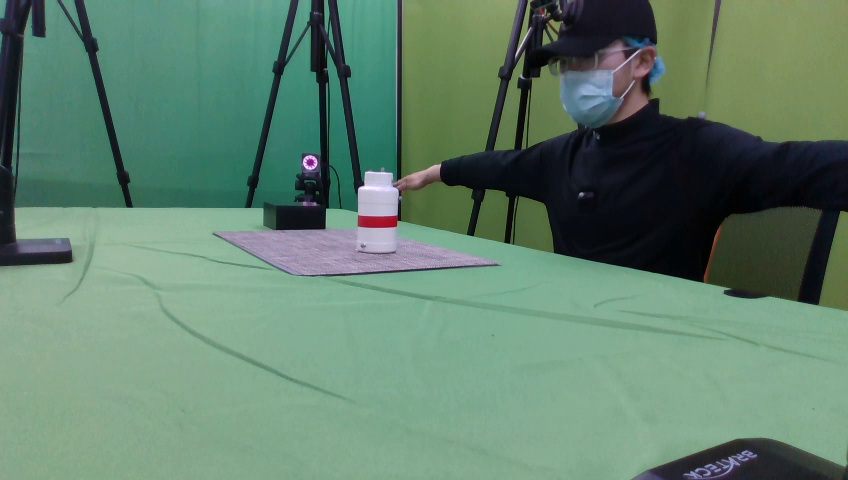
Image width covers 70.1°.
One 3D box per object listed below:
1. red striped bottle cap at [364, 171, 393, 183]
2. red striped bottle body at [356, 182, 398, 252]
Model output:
[{"bbox_3d":[-0.069,-0.096,0.918,0.044,0.017,0.044,0,5,0],"label":"red striped bottle cap"},{"bbox_3d":[-0.071,-0.044,0.924,0.063,0.119,0.063,2,7,0],"label":"red striped bottle body"}]
